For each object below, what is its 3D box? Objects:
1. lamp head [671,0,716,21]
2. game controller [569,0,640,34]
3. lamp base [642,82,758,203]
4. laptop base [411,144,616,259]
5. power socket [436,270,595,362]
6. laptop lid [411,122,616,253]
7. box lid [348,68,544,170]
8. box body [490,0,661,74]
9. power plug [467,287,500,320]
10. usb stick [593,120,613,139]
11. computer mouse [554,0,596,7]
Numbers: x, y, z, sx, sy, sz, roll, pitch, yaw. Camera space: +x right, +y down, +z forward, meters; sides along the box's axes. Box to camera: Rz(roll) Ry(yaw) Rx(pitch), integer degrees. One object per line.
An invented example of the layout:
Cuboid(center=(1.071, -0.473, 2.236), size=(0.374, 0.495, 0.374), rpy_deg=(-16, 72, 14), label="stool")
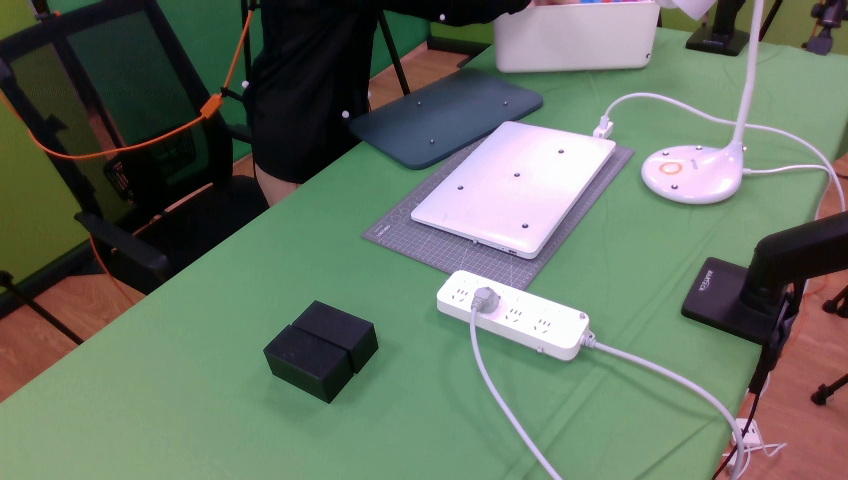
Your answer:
Cuboid(center=(0.375, -0.373, 0.807), size=(0.122, 0.113, 0.112), rpy_deg=(-40, 27, 32), label="lamp head")
Cuboid(center=(0.421, -0.522, 1.395), size=(0.155, 0.052, 0.096), rpy_deg=(-9, 44, -3), label="game controller")
Cuboid(center=(0.464, -0.174, 0.992), size=(0.179, 0.181, 0.159), rpy_deg=(-5, 41, -1), label="lamp base")
Cuboid(center=(0.168, -0.101, 1.074), size=(0.234, 0.023, 0.355), rpy_deg=(17, 46, 30), label="laptop base")
Cuboid(center=(0.118, 0.101, 0.832), size=(0.225, 0.033, 0.072), rpy_deg=(19, 48, 27), label="power socket")
Cuboid(center=(0.164, -0.111, 1.067), size=(0.240, 0.013, 0.357), rpy_deg=(19, 46, 31), label="laptop lid")
Cuboid(center=(0.048, -0.272, 1.298), size=(0.373, 0.015, 0.261), rpy_deg=(-31, 45, -25), label="box lid")
Cuboid(center=(0.346, -0.520, 1.429), size=(0.363, 0.161, 0.253), rpy_deg=(0, 41, 9), label="box body")
Cuboid(center=(0.073, 0.092, 0.814), size=(0.035, 0.053, 0.073), rpy_deg=(29, 54, 34), label="power plug")
Cuboid(center=(0.336, -0.201, 1.147), size=(0.021, 0.027, 0.059), rpy_deg=(26, 53, 27), label="usb stick")
Cuboid(center=(0.374, -0.560, 1.454), size=(0.117, 0.041, 0.062), rpy_deg=(0, 39, -1), label="computer mouse")
